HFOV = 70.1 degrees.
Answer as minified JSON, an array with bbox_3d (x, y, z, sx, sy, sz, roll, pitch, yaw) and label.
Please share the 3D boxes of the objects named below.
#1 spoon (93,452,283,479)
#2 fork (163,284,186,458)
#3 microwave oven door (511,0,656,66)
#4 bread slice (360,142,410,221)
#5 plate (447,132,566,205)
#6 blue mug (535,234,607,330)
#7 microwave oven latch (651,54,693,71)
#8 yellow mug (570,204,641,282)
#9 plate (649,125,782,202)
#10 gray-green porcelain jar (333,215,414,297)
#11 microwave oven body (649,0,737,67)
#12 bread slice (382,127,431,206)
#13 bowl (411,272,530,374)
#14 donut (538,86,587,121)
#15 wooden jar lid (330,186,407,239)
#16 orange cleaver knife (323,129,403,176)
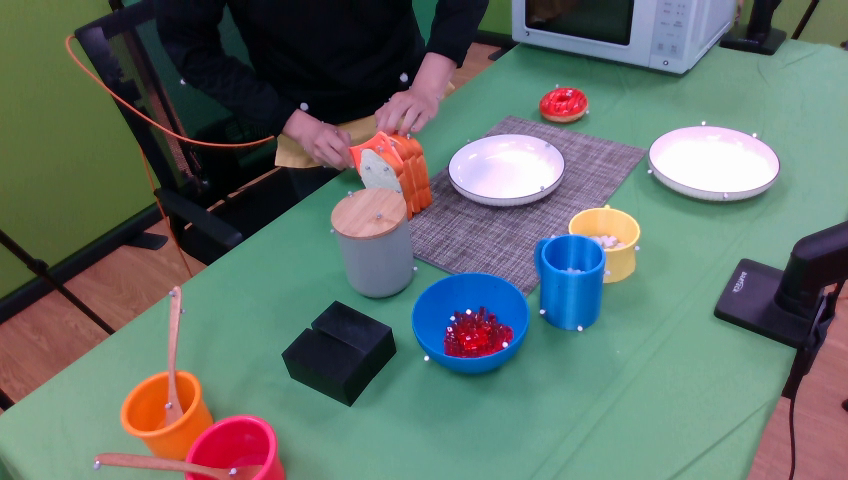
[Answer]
[{"bbox_3d":[-0.240,0.239,0.632,0.195,0.021,0.041,26,33,-32],"label":"spoon"},{"bbox_3d":[-0.302,0.157,0.733,0.028,0.019,0.207,-3,84,15],"label":"fork"},{"bbox_3d":[0.351,-0.539,1.349,0.353,0.245,0.039,24,50,31],"label":"microwave oven door"},{"bbox_3d":[-0.070,-0.101,1.014,0.019,0.132,0.104,-37,53,-27],"label":"bread slice"},{"bbox_3d":[0.146,-0.124,1.076,0.209,0.038,0.208,-3,41,3],"label":"plate"},{"bbox_3d":[0.191,0.048,0.824,0.082,0.106,0.115,-26,44,-20],"label":"blue mug"},{"bbox_3d":[0.531,-0.386,1.301,0.078,0.029,0.030,26,51,33],"label":"microwave oven latch"},{"bbox_3d":[0.268,-0.005,0.904,0.099,0.064,0.130,7,41,15],"label":"yellow mug"},{"bbox_3d":[0.493,-0.127,1.036,0.207,0.039,0.206,-4,41,4],"label":"plate"},{"bbox_3d":[-0.071,0.012,0.887,0.106,0.127,0.105,-4,41,4],"label":"gray-green porcelain jar"},{"bbox_3d":[0.475,-0.602,1.411,0.438,0.261,0.327,23,50,32],"label":"microwave oven body"},{"bbox_3d":[-0.032,-0.129,1.047,0.018,0.135,0.106,-34,48,-28],"label":"bread slice"},{"bbox_3d":[0.062,0.120,0.780,0.151,0.077,0.150,-4,40,4],"label":"bowl"},{"bbox_3d":[0.283,-0.280,1.239,0.099,0.048,0.098,-5,42,5],"label":"donut"},{"bbox_3d":[-0.077,-0.035,0.846,0.108,0.021,0.108,-5,41,5],"label":"wooden jar lid"},{"bbox_3d":[-0.109,-0.143,1.042,0.012,0.077,0.209,-34,21,-34],"label":"orange cleaver knife"}]
